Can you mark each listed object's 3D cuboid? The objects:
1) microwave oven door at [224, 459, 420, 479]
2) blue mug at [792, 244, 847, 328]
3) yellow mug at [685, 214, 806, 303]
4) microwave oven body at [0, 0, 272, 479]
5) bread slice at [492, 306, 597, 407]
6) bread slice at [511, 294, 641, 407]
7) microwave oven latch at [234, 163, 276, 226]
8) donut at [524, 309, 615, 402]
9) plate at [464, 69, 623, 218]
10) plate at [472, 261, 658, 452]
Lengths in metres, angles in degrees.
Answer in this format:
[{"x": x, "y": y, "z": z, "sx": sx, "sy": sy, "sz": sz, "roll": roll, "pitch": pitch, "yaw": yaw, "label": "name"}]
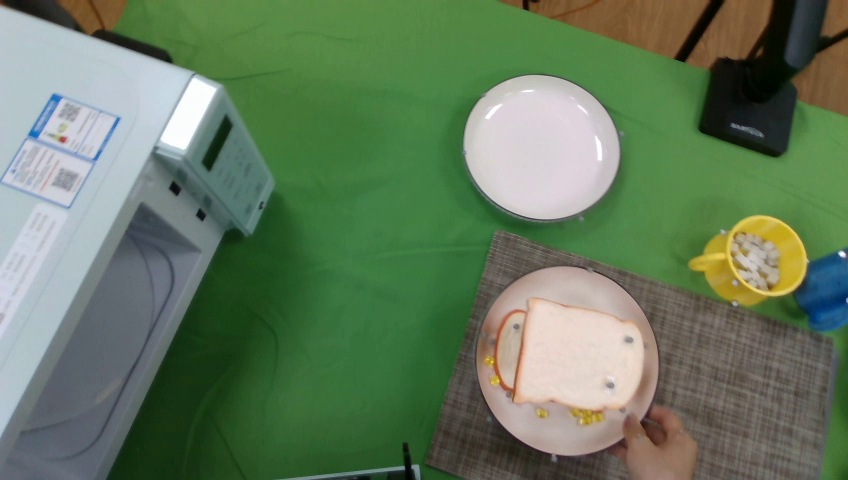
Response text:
[{"x": -0.177, "y": 0.248, "z": 0.559, "sx": 0.356, "sy": 0.245, "sz": 0.039, "roll": -5, "pitch": 74, "yaw": -4, "label": "microwave oven door"}, {"x": 0.509, "y": 0.061, "z": 0.733, "sx": 0.082, "sy": 0.106, "sz": 0.116, "roll": 39, "pitch": 77, "yaw": 8, "label": "blue mug"}, {"x": 0.395, "y": 0.024, "z": 0.758, "sx": 0.131, "sy": 0.064, "sz": 0.099, "roll": -2, "pitch": 74, "yaw": -2, "label": "yellow mug"}, {"x": -0.407, "y": 0.022, "z": 0.615, "sx": 0.326, "sy": 0.261, "sz": 0.440, "roll": 20, "pitch": 75, "yaw": 3, "label": "microwave oven body"}, {"x": 0.141, "y": 0.127, "z": 0.681, "sx": 0.132, "sy": 0.019, "sz": 0.104, "roll": 9, "pitch": 79, "yaw": -6, "label": "bread slice"}, {"x": 0.158, "y": 0.115, "z": 0.622, "sx": 0.135, "sy": 0.018, "sz": 0.107, "roll": 7, "pitch": 88, "yaw": -11, "label": "bread slice"}, {"x": -0.210, "y": -0.060, "z": 0.746, "sx": 0.030, "sy": 0.029, "sz": 0.079, "roll": 23, "pitch": 76, "yaw": 3, "label": "microwave oven latch"}, {"x": 0.156, "y": 0.123, "z": 0.652, "sx": 0.099, "sy": 0.048, "sz": 0.098, "roll": 1, "pitch": 77, "yaw": -3, "label": "donut"}, {"x": 0.155, "y": -0.125, "z": 0.801, "sx": 0.208, "sy": 0.039, "sz": 0.206, "roll": 1, "pitch": 75, "yaw": -2, "label": "plate"}, {"x": 0.155, "y": 0.127, "z": 0.679, "sx": 0.209, "sy": 0.038, "sz": 0.208, "roll": 1, "pitch": 79, "yaw": -3, "label": "plate"}]
